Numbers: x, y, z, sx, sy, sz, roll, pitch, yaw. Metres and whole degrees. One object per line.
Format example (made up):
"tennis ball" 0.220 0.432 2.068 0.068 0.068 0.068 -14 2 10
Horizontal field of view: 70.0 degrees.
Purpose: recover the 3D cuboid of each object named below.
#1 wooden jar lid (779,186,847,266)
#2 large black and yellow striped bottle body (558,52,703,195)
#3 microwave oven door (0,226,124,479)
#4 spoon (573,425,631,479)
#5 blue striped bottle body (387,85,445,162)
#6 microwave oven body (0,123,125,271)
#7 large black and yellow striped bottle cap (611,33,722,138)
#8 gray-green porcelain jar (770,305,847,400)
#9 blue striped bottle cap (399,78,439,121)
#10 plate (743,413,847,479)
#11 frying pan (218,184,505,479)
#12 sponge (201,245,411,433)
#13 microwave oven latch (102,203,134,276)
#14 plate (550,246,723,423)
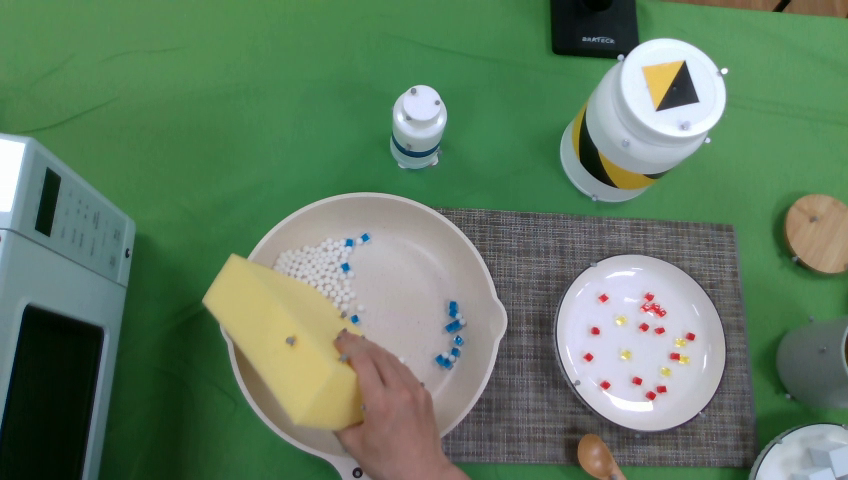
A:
"wooden jar lid" 0.518 -0.017 0.800 0.108 0.021 0.108 1 78 -5
"large black and yellow striped bottle body" 0.245 -0.141 0.716 0.131 0.184 0.130 1 75 -5
"microwave oven door" -0.345 0.186 0.522 0.039 0.244 0.354 3 76 -5
"spoon" 0.241 0.286 0.692 0.193 0.022 0.041 43 59 4
"blue striped bottle body" -0.010 -0.143 0.720 0.063 0.121 0.063 1 76 -6
"microwave oven body" -0.488 0.138 0.524 0.326 0.261 0.439 3 77 -6
"large black and yellow striped bottle cap" 0.253 -0.162 0.632 0.115 0.019 0.114 2 75 -5
"gray-green porcelain jar" 0.482 0.132 0.704 0.106 0.127 0.105 2 76 -6
"blue striped bottle cap" -0.006 -0.155 0.670 0.044 0.021 0.044 1 73 -4
"plate" 0.466 0.308 0.706 0.208 0.039 0.206 2 76 -6
"frying pan" -0.066 0.181 0.641 0.307 0.103 0.484 1 68 -3
"sponge" -0.122 0.096 0.604 0.204 0.119 0.061 38 95 39
"microwave oven latch" -0.344 -0.001 0.673 0.030 0.029 0.079 6 76 -5
"plate" 0.249 0.111 0.726 0.209 0.038 0.208 1 76 -5
